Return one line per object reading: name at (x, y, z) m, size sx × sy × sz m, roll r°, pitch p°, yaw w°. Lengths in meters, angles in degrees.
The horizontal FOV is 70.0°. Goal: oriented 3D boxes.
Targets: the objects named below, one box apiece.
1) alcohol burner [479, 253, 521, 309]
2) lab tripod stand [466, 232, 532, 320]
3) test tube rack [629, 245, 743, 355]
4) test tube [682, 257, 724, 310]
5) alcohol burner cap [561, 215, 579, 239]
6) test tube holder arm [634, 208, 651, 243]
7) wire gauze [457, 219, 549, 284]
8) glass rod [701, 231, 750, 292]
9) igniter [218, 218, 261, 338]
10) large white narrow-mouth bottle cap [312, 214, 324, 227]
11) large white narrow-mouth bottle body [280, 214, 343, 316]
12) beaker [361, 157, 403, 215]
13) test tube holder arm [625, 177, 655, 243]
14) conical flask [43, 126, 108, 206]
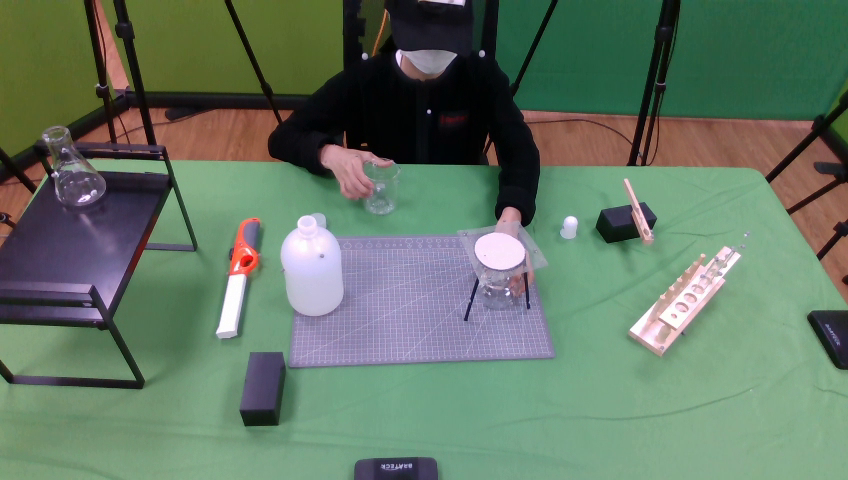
alcohol burner at (0.135, 0.067, 1.072) m, size 0.078 × 0.120 × 0.077 m, roll 0°, pitch 47°, yaw 0°
lab tripod stand at (0.125, 0.059, 1.065) m, size 0.148 × 0.132 × 0.147 m, roll 1°, pitch 45°, yaw 0°
test tube rack at (0.474, 0.095, 1.091) m, size 0.242 × 0.085 × 0.066 m, roll -34°, pitch 56°, yaw -31°
test tube at (0.475, 0.080, 1.037) m, size 0.017 × 0.151 × 0.017 m, roll 2°, pitch 51°, yaw -2°
alcohol burner cap at (0.299, -0.030, 1.231) m, size 0.034 × 0.048 × 0.033 m, roll 0°, pitch 46°, yaw 0°
test tube holder arm at (0.428, -0.030, 1.189) m, size 0.010 × 0.015 × 0.087 m, roll 1°, pitch 47°, yaw -2°
wire gauze at (0.131, 0.014, 1.016) m, size 0.121 × 0.011 × 0.124 m, roll -12°, pitch 47°, yaw -14°
glass rod at (0.519, 0.045, 1.050) m, size 0.008 × 0.201 × 0.008 m, roll 0°, pitch 55°, yaw 0°
igniter at (-0.337, 0.060, 1.111) m, size 0.057 × 0.025 × 0.274 m, roll -7°, pitch 46°, yaw 4°
large white narrow-mouth bottle cap at (-0.219, -0.033, 1.214) m, size 0.038 × 0.024 × 0.037 m, roll 2°, pitch 46°, yaw -2°
large white narrow-mouth bottle body at (-0.190, 0.035, 1.025) m, size 0.102 × 0.195 × 0.101 m, roll 2°, pitch 46°, yaw -2°
beaker at (-0.086, -0.108, 1.241) m, size 0.084 × 0.101 × 0.073 m, roll -8°, pitch 48°, yaw -14°
test tube holder arm at (0.433, -0.062, 1.220) m, size 0.013 × 0.015 × 0.177 m, roll 1°, pitch 47°, yaw -3°
conical flask at (-0.555, -0.119, 0.953) m, size 0.075 × 0.122 × 0.075 m, roll 2°, pitch 46°, yaw -2°
